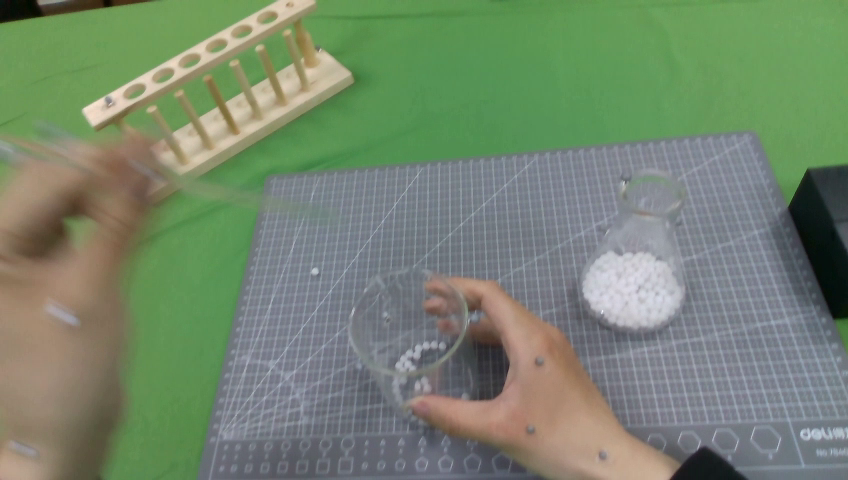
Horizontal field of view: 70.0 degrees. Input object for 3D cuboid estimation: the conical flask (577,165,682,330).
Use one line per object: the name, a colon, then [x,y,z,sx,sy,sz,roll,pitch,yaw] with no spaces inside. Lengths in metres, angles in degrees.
conical flask: [0.144,0.003,0.411,0.075,0.123,0.074,-5,54,8]

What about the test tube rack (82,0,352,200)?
test tube rack: [-0.198,-0.150,0.608,0.242,0.086,0.066,-36,56,-15]

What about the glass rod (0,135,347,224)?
glass rod: [-0.102,-0.023,0.268,0.008,0.201,0.008,-5,80,35]

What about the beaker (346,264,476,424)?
beaker: [-0.005,0.072,0.404,0.074,0.101,0.083,-29,54,-11]
